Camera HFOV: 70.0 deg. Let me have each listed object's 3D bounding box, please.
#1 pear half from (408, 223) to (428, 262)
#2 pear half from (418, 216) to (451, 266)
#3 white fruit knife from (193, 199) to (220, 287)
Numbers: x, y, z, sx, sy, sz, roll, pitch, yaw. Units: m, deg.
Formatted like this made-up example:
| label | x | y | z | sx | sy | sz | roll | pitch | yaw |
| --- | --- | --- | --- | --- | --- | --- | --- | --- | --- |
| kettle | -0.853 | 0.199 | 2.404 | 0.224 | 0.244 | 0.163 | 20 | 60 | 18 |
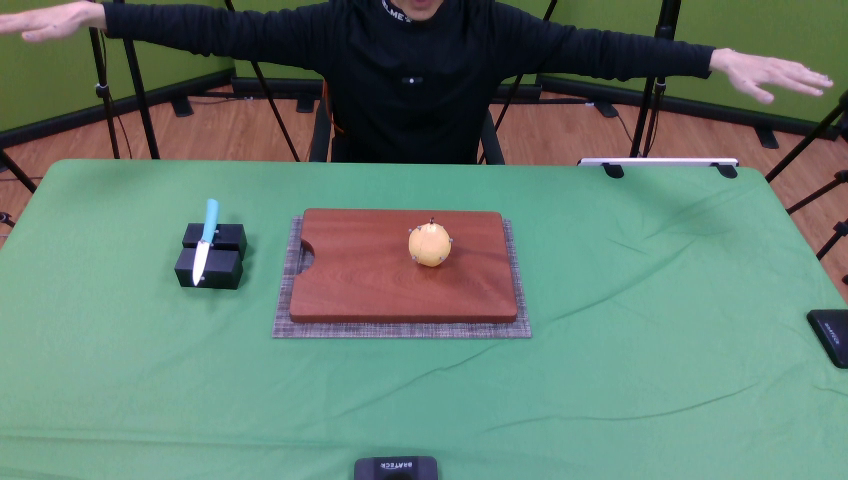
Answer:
| label | x | y | z | sx | sy | sz | roll | pitch | yaw |
| --- | --- | --- | --- | --- | --- | --- | --- | --- | --- |
| pear half | -0.013 | -0.001 | 1.107 | 0.031 | 0.088 | 0.070 | 8 | 53 | 2 |
| pear half | 0.023 | -0.001 | 1.097 | 0.056 | 0.110 | 0.076 | 9 | 50 | 3 |
| white fruit knife | -0.396 | 0.002 | 1.103 | 0.027 | 0.016 | 0.206 | -8 | 51 | 5 |
